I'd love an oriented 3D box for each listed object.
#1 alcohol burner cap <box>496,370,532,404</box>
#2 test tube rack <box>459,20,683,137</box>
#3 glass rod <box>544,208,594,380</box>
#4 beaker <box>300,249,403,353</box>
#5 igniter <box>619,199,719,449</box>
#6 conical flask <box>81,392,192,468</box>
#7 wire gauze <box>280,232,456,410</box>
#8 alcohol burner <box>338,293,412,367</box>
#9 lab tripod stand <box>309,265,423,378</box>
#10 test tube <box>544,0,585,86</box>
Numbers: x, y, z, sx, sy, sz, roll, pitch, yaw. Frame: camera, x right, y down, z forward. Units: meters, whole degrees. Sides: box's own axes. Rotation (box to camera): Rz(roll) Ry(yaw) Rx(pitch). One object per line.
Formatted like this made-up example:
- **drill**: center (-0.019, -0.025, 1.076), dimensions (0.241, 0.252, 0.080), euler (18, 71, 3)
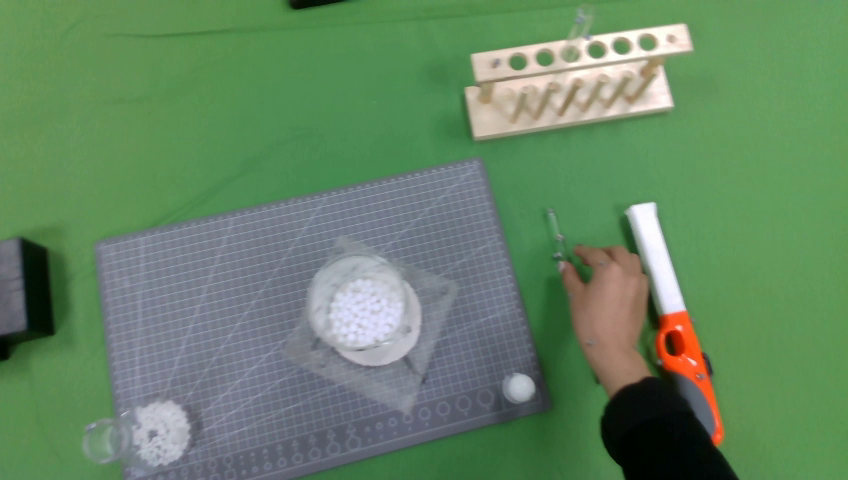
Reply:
- **alcohol burner cap**: center (0.097, 0.152, 0.637), dimensions (0.034, 0.048, 0.033), euler (3, 69, -9)
- **test tube rack**: center (0.167, -0.184, 0.701), dimensions (0.242, 0.085, 0.066), euler (-10, 76, -4)
- **glass rod**: center (0.163, 0.059, 0.682), dimensions (0.008, 0.008, 0.199), euler (-12, 80, -5)
- **beaker**: center (-0.051, 0.056, 0.491), dimensions (0.084, 0.100, 0.074), euler (36, 79, 7)
- **igniter**: center (0.270, 0.087, 0.670), dimensions (0.057, 0.025, 0.275), euler (-9, 77, -15)
- **conical flask**: center (-0.276, 0.183, 0.576), dimensions (0.075, 0.122, 0.075), euler (1, 76, -2)
- **wire gauze**: center (-0.048, 0.069, 0.538), dimensions (0.125, 0.011, 0.121), euler (23, 80, 2)
- **alcohol burner**: center (-0.050, 0.089, 0.611), dimensions (0.078, 0.119, 0.077), euler (0, 77, 0)
- **lab tripod stand**: center (-0.053, 0.083, 0.602), dimensions (0.148, 0.132, 0.147), euler (0, 78, -1)
- **test tube**: center (0.149, -0.207, 0.655), dimensions (0.017, 0.151, 0.017), euler (0, 76, 1)
